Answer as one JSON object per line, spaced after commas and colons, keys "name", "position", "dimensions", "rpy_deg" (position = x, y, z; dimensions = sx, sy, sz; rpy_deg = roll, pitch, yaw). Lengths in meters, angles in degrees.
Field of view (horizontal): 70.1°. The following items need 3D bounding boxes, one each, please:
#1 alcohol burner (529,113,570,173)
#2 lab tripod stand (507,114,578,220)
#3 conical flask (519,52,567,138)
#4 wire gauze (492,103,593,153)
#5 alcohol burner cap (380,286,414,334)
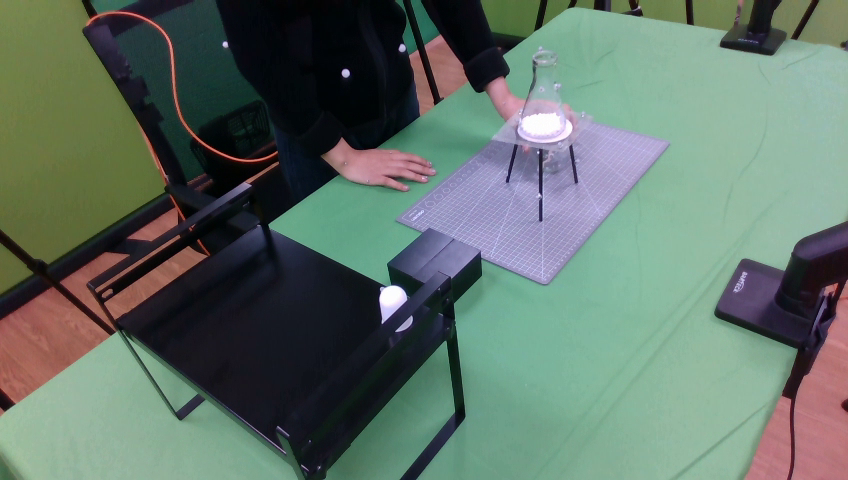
{"name": "alcohol burner", "position": [0.224, -0.178, 1.071], "dimensions": [0.078, 0.120, 0.077], "rpy_deg": [-5, 50, 7]}
{"name": "lab tripod stand", "position": [0.198, -0.128, 1.005], "dimensions": [0.148, 0.132, 0.147], "rpy_deg": [-3, 42, 4]}
{"name": "conical flask", "position": [0.183, -0.223, 0.926], "dimensions": [0.075, 0.122, 0.075], "rpy_deg": [-4, 41, 4]}
{"name": "wire gauze", "position": [0.190, -0.179, 0.965], "dimensions": [0.120, 0.011, 0.125], "rpy_deg": [17, 49, 29]}
{"name": "alcohol burner cap", "position": [-0.029, 0.068, 0.605], "dimensions": [0.034, 0.048, 0.033], "rpy_deg": [-5, 40, 4]}
